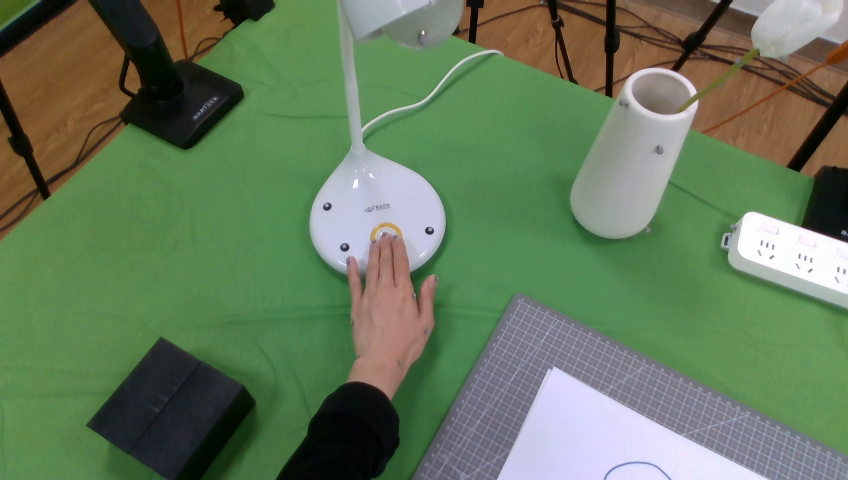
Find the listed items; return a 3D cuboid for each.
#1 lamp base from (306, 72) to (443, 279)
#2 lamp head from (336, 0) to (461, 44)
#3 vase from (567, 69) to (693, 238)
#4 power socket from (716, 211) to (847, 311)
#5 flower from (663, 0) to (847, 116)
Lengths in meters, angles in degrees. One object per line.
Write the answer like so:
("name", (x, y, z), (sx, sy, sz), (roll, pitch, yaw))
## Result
("lamp base", (-0.063, -0.075, 0.652), (0.161, 0.182, 0.177), (-22, 58, -14))
("lamp head", (-0.021, -0.202, 0.391), (0.112, 0.112, 0.123), (-29, 102, -17))
("vase", (0.217, -0.087, 0.653), (0.098, 0.201, 0.097), (0, 58, 0))
("power socket", (0.450, 0.032, 0.682), (0.226, 0.033, 0.072), (21, 61, 11))
("flower", (0.231, -0.115, 0.575), (0.044, 0.362, 0.038), (-11, 76, -17))
